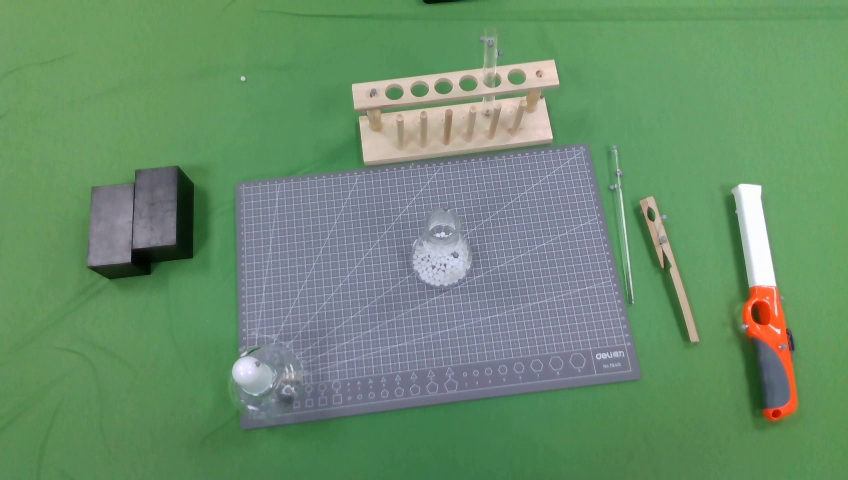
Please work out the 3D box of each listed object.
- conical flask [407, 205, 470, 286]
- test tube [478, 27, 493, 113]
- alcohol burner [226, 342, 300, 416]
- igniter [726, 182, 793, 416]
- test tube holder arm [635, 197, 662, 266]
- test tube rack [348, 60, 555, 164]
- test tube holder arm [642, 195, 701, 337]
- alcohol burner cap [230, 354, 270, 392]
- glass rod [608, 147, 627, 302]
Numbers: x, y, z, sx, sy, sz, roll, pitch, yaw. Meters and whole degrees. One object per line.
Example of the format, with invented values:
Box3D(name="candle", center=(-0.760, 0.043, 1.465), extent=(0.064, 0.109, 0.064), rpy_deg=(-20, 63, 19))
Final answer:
Box3D(name="conical flask", center=(0.016, 0.003, 0.672), extent=(0.075, 0.122, 0.075), rpy_deg=(0, 71, 1))
Box3D(name="test tube", center=(0.072, -0.194, 0.707), extent=(0.017, 0.151, 0.017), rpy_deg=(-2, 69, 4))
Box3D(name="alcohol burner", center=(-0.172, 0.143, 0.631), extent=(0.078, 0.120, 0.077), rpy_deg=(-1, 70, 2))
Box3D(name="igniter", center=(0.388, 0.062, 0.704), extent=(0.057, 0.025, 0.274), rpy_deg=(4, 72, -9))
Box3D(name="test tube holder arm", center=(0.276, -0.010, 0.734), extent=(0.010, 0.015, 0.087), rpy_deg=(-25, 69, 30))
Box3D(name="test tube rack", center=(0.035, -0.156, 0.747), extent=(0.242, 0.085, 0.066), rpy_deg=(-7, 72, -2))
Box3D(name="test tube holder arm", center=(0.291, 0.029, 0.718), extent=(0.013, 0.015, 0.177), rpy_deg=(-26, 69, 30))
Box3D(name="alcohol burner cap", center=(-0.174, 0.129, 0.597), extent=(0.034, 0.048, 0.033), rpy_deg=(-1, 63, 1))
Box3D(name="glass rod", center=(0.237, -0.022, 0.742), extent=(0.008, 0.008, 0.198), rpy_deg=(0, 74, 0))
